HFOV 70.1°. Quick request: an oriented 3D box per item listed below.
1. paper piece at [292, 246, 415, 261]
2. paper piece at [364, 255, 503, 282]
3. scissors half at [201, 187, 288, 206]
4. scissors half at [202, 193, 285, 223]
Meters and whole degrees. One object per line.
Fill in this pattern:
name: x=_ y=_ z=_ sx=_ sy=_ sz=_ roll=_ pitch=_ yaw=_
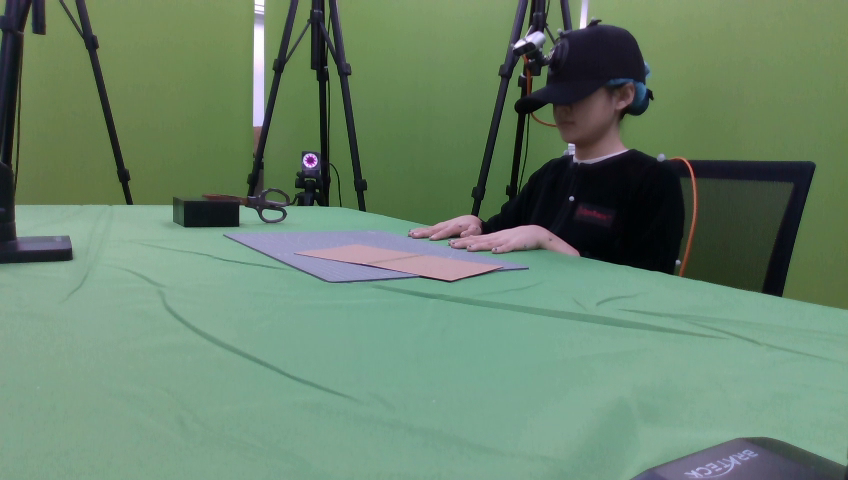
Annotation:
paper piece: x=-0.095 y=0.020 z=0.873 sx=0.137 sy=0.008 sz=0.137 roll=7 pitch=4 yaw=35
paper piece: x=0.014 y=0.035 z=0.799 sx=0.135 sy=0.004 sz=0.136 roll=8 pitch=10 yaw=35
scissors half: x=-0.360 y=-0.088 z=1.224 sx=0.176 sy=0.040 sz=0.012 roll=-3 pitch=20 yaw=-32
scissors half: x=-0.365 y=-0.069 z=1.228 sx=0.176 sy=0.040 sz=0.013 roll=18 pitch=3 yaw=-35
